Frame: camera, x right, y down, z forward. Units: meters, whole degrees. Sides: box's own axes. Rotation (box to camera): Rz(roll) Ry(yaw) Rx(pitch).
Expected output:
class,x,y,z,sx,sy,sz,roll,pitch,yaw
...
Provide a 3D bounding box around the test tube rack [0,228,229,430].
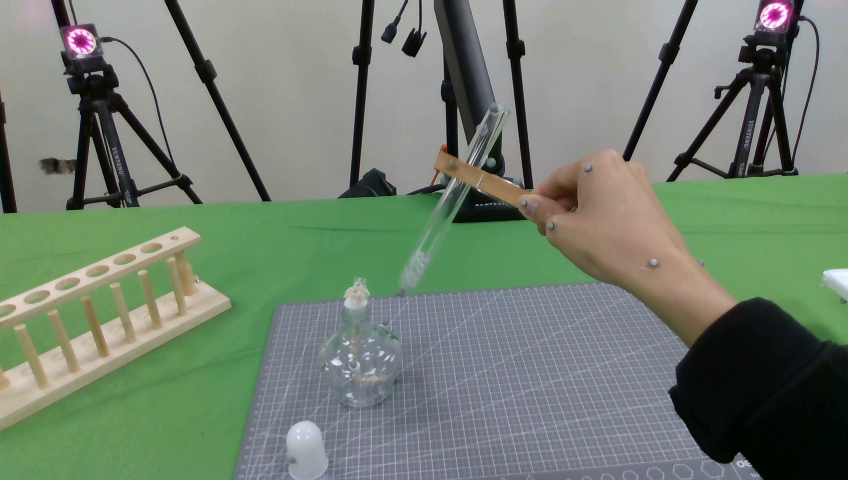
class,x,y,z,sx,sy,sz,roll,pitch,yaw
test tube rack,-0.328,0.080,0.613,0.066,0.086,0.242,23,38,36

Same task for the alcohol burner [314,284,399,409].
class,x,y,z,sx,sy,sz,roll,pitch,yaw
alcohol burner,-0.061,0.092,0.545,0.078,0.120,0.077,-1,28,1

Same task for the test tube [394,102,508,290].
class,x,y,z,sx,sy,sz,roll,pitch,yaw
test tube,0.018,-0.029,0.434,0.017,0.150,0.017,28,9,-5

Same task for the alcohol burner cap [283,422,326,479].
class,x,y,z,sx,sy,sz,roll,pitch,yaw
alcohol burner cap,-0.098,0.168,0.487,0.034,0.048,0.033,-1,30,1

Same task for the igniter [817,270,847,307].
class,x,y,z,sx,sy,sz,roll,pitch,yaw
igniter,0.434,0.099,0.507,0.057,0.025,0.274,-5,27,-4

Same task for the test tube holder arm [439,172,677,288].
class,x,y,z,sx,sy,sz,roll,pitch,yaw
test tube holder arm,0.084,-0.016,0.410,0.177,0.015,0.013,29,8,22

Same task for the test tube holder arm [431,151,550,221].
class,x,y,z,sx,sy,sz,roll,pitch,yaw
test tube holder arm,0.045,-0.037,0.420,0.087,0.015,0.010,28,7,13
